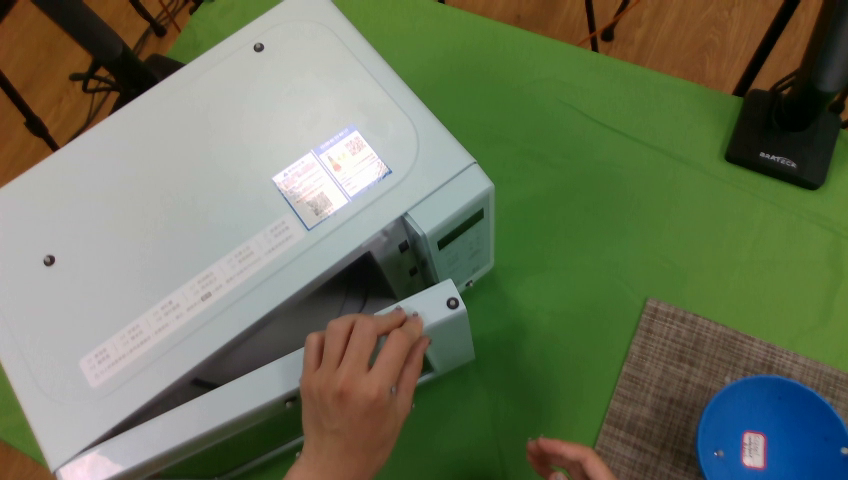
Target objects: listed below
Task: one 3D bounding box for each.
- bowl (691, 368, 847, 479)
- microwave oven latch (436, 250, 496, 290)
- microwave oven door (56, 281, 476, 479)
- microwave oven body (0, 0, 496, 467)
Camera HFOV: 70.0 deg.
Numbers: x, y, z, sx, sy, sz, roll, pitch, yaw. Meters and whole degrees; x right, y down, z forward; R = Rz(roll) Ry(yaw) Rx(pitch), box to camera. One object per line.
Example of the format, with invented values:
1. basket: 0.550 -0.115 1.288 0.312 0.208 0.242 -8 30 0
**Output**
1. bowl: 0.348 0.214 0.631 0.151 0.077 0.150 -2 70 6
2. microwave oven latch: 0.050 0.032 0.733 0.079 0.030 0.030 -35 71 -6
3. microwave oven door: -0.119 0.155 0.599 0.356 0.245 0.039 -25 69 -3
4. microwave oven body: -0.190 -0.004 0.668 0.441 0.262 0.323 -37 71 -7
